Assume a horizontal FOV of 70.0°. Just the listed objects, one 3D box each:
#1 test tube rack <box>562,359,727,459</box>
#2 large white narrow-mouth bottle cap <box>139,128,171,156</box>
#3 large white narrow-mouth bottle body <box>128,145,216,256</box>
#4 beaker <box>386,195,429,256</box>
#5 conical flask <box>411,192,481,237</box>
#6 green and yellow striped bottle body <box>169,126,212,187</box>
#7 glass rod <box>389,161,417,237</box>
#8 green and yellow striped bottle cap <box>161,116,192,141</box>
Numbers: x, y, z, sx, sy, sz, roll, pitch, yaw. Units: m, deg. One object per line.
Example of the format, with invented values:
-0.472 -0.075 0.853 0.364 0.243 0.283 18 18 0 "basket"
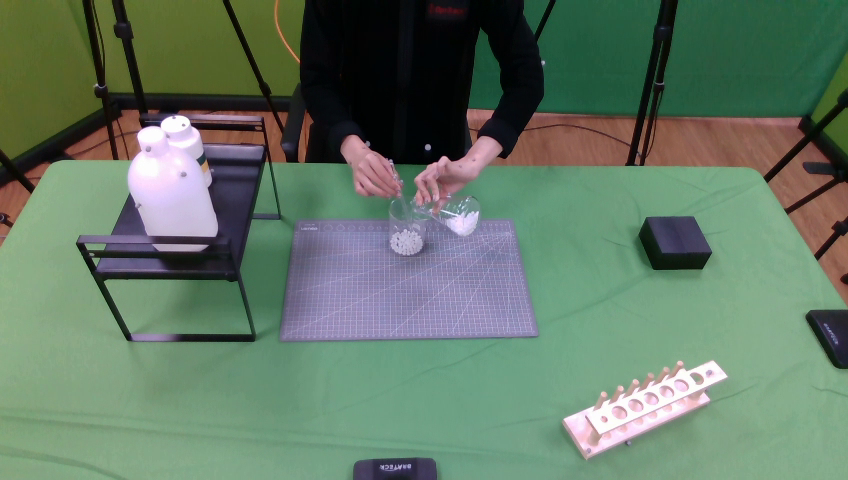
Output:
0.341 0.247 0.940 0.243 0.085 0.066 -16 49 -18 "test tube rack"
-0.358 -0.132 0.807 0.038 0.024 0.037 3 47 -3 "large white narrow-mouth bottle cap"
-0.366 -0.073 0.872 0.102 0.195 0.101 3 47 -3 "large white narrow-mouth bottle body"
-0.031 -0.024 1.161 0.084 0.101 0.073 18 48 12 "beaker"
0.033 -0.055 1.076 0.121 0.076 0.075 18 46 34 "conical flask"
-0.389 -0.139 0.984 0.063 0.120 0.063 2 46 -2 "green and yellow striped bottle body"
-0.038 -0.071 1.130 0.008 0.201 0.008 -8 48 9 "glass rod"
-0.387 -0.174 0.946 0.045 0.020 0.045 3 44 -3 "green and yellow striped bottle cap"
